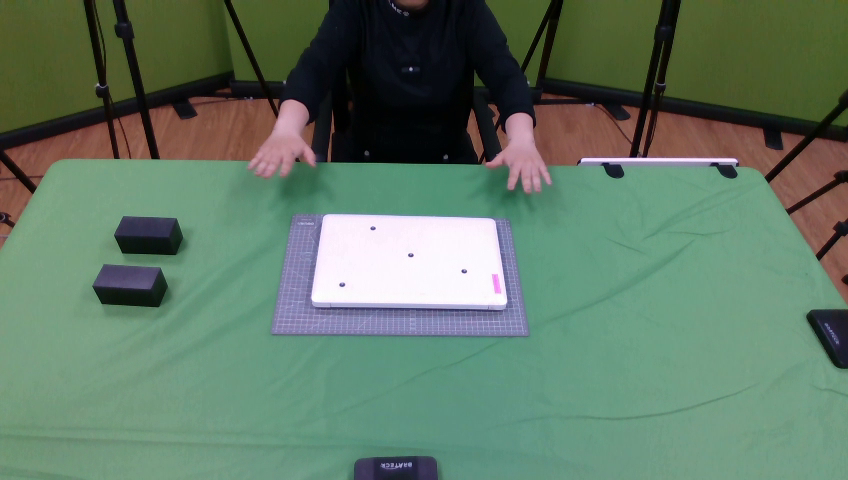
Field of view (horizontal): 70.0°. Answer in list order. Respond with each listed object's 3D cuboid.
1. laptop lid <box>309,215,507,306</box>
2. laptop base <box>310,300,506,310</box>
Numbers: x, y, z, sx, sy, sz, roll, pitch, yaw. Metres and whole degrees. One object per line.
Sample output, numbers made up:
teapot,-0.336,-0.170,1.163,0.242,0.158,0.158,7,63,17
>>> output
laptop lid,-0.028,0.033,1.149,0.357,0.013,0.240,3,44,-2
laptop base,-0.029,0.043,1.156,0.354,0.023,0.234,1,42,-3
